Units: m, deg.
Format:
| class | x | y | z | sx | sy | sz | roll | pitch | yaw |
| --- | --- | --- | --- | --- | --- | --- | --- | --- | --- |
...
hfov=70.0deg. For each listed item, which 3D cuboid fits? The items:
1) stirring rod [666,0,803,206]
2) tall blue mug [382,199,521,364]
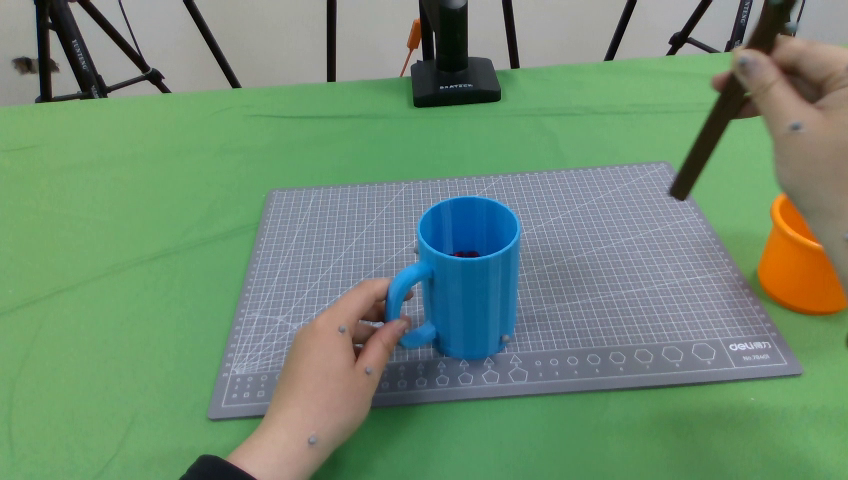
| class | x | y | z | sx | sy | sz | roll | pitch | yaw |
| --- | --- | --- | --- | --- | --- | --- | --- | --- | --- |
| stirring rod | 0.185 | -0.088 | 0.359 | 0.014 | 0.177 | 0.006 | 30 | 49 | 19 |
| tall blue mug | 0.026 | 0.042 | 0.464 | 0.077 | 0.109 | 0.107 | 17 | 44 | 22 |
